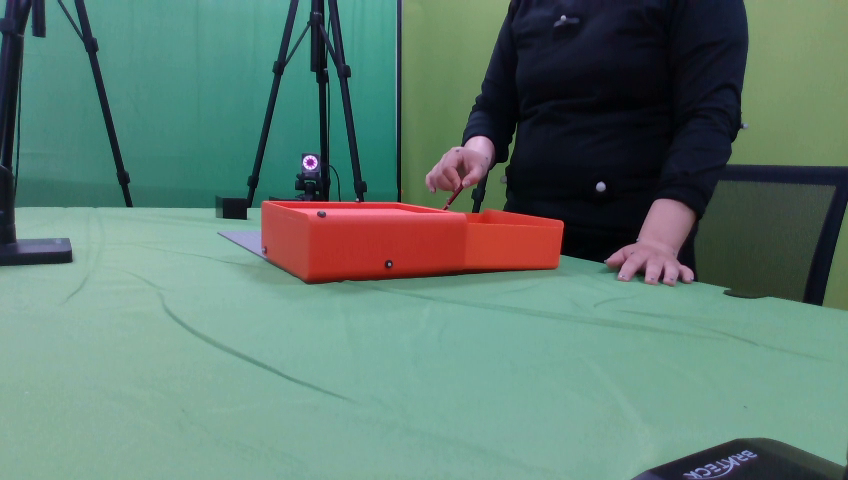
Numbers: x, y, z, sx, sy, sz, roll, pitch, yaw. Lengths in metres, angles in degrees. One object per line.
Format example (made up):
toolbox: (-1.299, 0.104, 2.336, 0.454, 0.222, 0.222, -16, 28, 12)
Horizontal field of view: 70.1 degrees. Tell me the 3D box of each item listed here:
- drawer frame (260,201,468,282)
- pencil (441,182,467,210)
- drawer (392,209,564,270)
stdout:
drawer frame: (-0.084, -0.006, 0.795, 0.215, 0.082, 0.200, -2, 9, -30)
pencil: (0.043, -0.063, 0.941, 0.012, 0.012, 0.194, 5, 24, 17)
drawer: (0.059, -0.006, 0.879, 0.213, 0.073, 0.193, 1, 9, -31)
